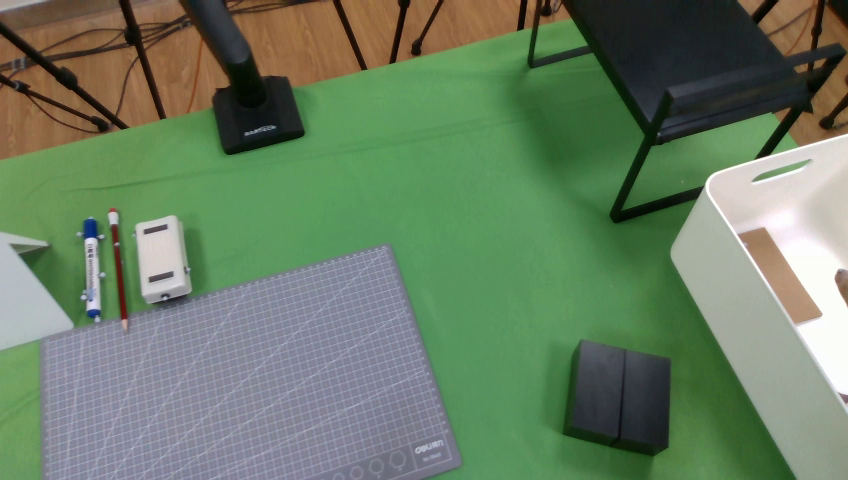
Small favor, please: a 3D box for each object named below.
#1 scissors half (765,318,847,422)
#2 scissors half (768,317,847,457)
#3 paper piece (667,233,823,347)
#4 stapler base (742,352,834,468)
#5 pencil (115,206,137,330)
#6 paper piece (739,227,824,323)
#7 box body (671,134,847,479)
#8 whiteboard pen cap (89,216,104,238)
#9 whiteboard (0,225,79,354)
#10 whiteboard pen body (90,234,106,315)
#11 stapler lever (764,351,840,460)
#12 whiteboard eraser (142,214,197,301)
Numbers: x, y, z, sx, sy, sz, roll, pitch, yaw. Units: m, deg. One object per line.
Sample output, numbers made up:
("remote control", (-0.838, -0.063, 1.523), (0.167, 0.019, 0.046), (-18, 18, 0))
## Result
("scissors half", (0.466, 0.160, 0.708), (0.040, 0.013, 0.173), (-23, 60, -22))
("scissors half", (0.447, 0.165, 0.703), (0.040, 0.013, 0.173), (-8, 55, -6))
("paper piece", (0.412, 0.059, 0.785), (0.136, 0.009, 0.136), (-21, 54, 8))
("stapler base", (0.415, 0.188, 0.687), (0.041, 0.024, 0.129), (-19, 66, -6))
("pencil", (-0.391, 0.033, 0.796), (0.012, 0.012, 0.192), (-18, 62, -9))
("paper piece", (0.410, 0.052, 0.766), (0.135, 0.004, 0.134), (-13, 62, -8))
("box body", (0.478, 0.083, 0.671), (0.254, 0.161, 0.360), (-16, 62, -7))
("whiteboard pen cap", (-0.443, -0.015, 0.819), (0.018, 0.018, 0.033), (-17, 61, -8))
("whiteboard", (-0.569, -0.012, 0.691), (0.217, 0.308, 0.142), (-16, 42, -7))
("whiteboard pen body", (-0.427, 0.034, 0.792), (0.017, 0.017, 0.139), (-15, 62, -7))
("stapler lever", (0.415, 0.178, 0.664), (0.027, 0.040, 0.117), (-19, 67, -6))
("whiteboard eraser", (-0.330, 0.023, 0.784), (0.055, 0.042, 0.111), (-17, 63, -7))
